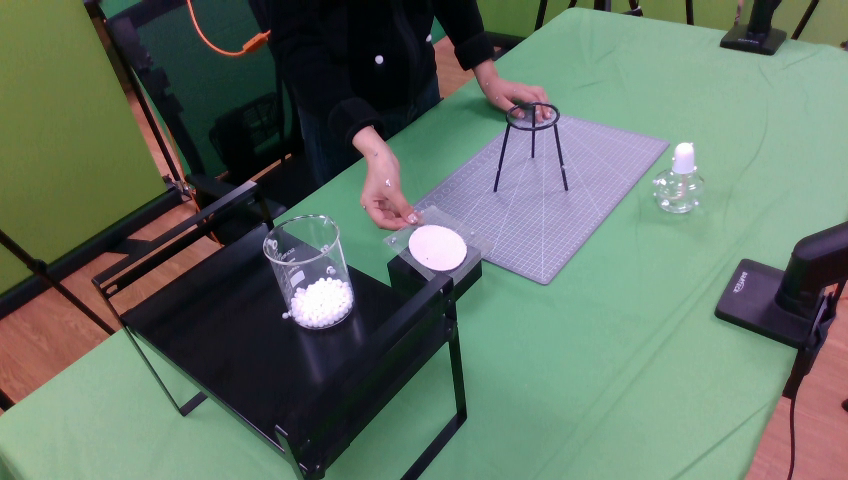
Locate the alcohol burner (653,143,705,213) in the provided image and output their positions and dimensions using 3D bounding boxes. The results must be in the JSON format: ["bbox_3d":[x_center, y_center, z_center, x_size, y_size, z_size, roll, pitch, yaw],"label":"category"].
[{"bbox_3d":[0.408,-0.102,0.963,0.078,0.119,0.077,-6,42,5],"label":"alcohol burner"}]

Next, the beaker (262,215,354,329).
[{"bbox_3d":[-0.112,0.034,0.616,0.073,0.101,0.084,13,44,23],"label":"beaker"}]

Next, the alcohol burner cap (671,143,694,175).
[{"bbox_3d":[0.403,-0.129,0.941,0.034,0.048,0.033,-9,39,8],"label":"alcohol burner cap"}]

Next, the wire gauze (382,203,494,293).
[{"bbox_3d":[0.021,0.005,0.879,0.124,0.011,0.122,37,51,19],"label":"wire gauze"}]

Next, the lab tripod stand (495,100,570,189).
[{"bbox_3d":[0.186,-0.161,1.043,0.148,0.132,0.147,-4,43,4],"label":"lab tripod stand"}]
